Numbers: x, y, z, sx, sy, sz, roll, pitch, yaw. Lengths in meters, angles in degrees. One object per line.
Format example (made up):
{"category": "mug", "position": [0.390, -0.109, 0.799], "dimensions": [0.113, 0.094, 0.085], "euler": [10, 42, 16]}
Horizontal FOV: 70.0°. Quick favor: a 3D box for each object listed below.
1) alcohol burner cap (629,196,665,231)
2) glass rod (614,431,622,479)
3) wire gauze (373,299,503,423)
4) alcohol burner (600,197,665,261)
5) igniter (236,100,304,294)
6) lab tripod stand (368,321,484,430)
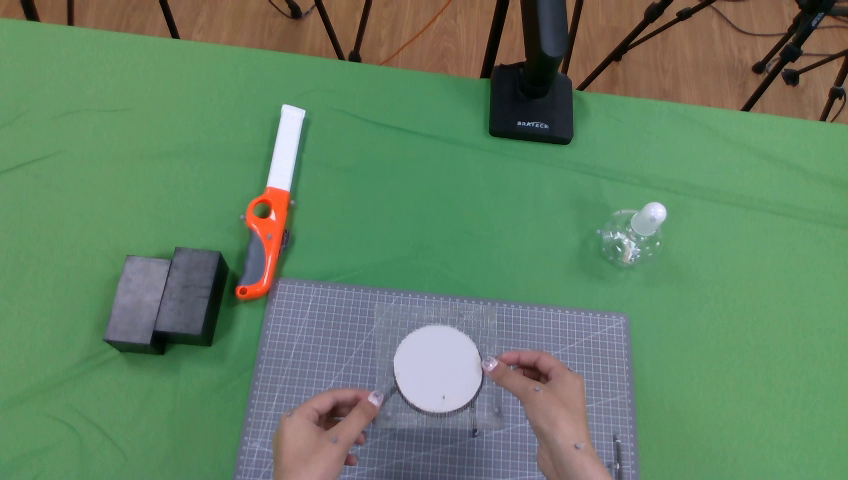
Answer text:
{"category": "alcohol burner cap", "position": [0.272, -0.034, 0.729], "dimensions": [0.034, 0.048, 0.033], "euler": [1, 71, -2]}
{"category": "glass rod", "position": [0.217, 0.314, 0.667], "dimensions": [0.008, 0.008, 0.198], "euler": [6, 66, -4]}
{"category": "wire gauze", "position": [0.012, 0.115, 0.589], "dimensions": [0.125, 0.011, 0.120], "euler": [1, 66, -4]}
{"category": "alcohol burner", "position": [0.268, -0.020, 0.762], "dimensions": [0.078, 0.120, 0.077], "euler": [3, 64, -5]}
{"category": "igniter", "position": [-0.192, -0.060, 0.773], "dimensions": [0.057, 0.025, 0.274], "euler": [14, 65, -17]}
{"category": "lab tripod stand", "position": [0.008, 0.144, 0.648], "dimensions": [0.148, 0.132, 0.147], "euler": [2, 65, -3]}
